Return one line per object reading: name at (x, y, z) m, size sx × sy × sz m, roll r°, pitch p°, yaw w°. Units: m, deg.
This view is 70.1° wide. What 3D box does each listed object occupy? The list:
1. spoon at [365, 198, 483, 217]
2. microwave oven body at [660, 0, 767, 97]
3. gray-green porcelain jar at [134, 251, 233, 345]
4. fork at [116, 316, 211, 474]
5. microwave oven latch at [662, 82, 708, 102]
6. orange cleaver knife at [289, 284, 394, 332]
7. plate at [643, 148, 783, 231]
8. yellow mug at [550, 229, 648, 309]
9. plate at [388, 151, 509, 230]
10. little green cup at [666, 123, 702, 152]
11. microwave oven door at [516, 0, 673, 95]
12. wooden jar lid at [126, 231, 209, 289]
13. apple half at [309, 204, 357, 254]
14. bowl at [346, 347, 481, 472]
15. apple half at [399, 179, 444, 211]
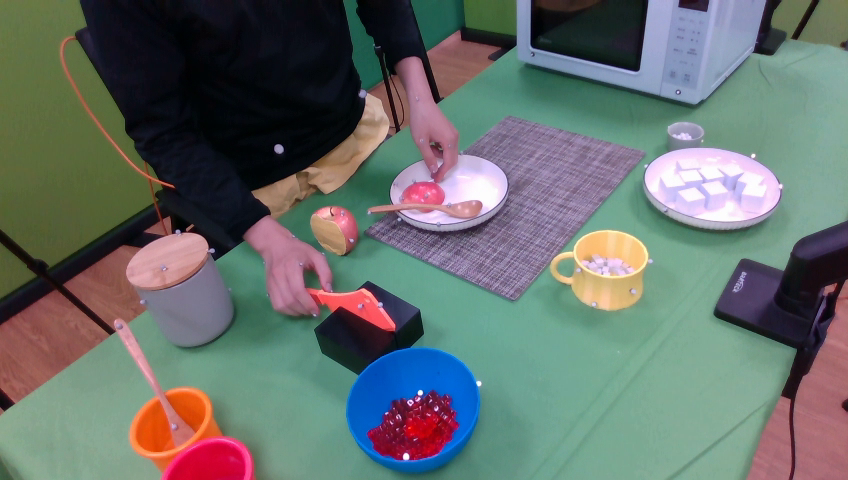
spoon at (0.001, -0.056, 0.997) m, size 0.194 × 0.022 × 0.041 m, roll 1°, pitch 51°, yaw -9°
microwave oven body at (0.473, -0.517, 1.313) m, size 0.438 × 0.261 × 0.327 m, roll 26°, pitch 51°, yaw 34°
gray-green porcelain jar at (-0.334, 0.076, 0.849) m, size 0.106 × 0.127 × 0.105 m, roll -4°, pitch 41°, yaw 4°
fork at (-0.308, 0.179, 0.708) m, size 0.028 × 0.018 × 0.207 m, roll -30°, pitch 89°, yaw -14°
microwave oven latch at (0.517, -0.298, 1.203) m, size 0.078 × 0.029 × 0.030 m, roll 28°, pitch 52°, yaw 35°
orange cleaver knife at (-0.117, 0.092, 0.833) m, size 0.209 × 0.077 × 0.012 m, roll 1°, pitch 35°, yaw 47°
plate at (0.464, -0.079, 0.986) m, size 0.207 × 0.039 × 0.206 m, roll -4°, pitch 40°, yaw 4°
yellow mug at (0.245, 0.040, 0.857) m, size 0.130 × 0.064 × 0.099 m, roll 1°, pitch 41°, yaw 11°
plate at (0.044, -0.083, 1.042) m, size 0.209 × 0.038 × 0.208 m, roll -4°, pitch 40°, yaw 4°
little green cup at (0.472, -0.183, 1.102) m, size 0.061 × 0.039 × 0.061 m, roll -5°, pitch 41°, yaw 5°
microwave oven door at (0.344, -0.458, 1.256) m, size 0.353 × 0.245 × 0.039 m, roll 26°, pitch 51°, yaw 33°
wooden jar lid at (-0.340, 0.030, 0.808) m, size 0.108 × 0.021 × 0.108 m, roll -5°, pitch 39°, yaw 5°
apple half at (-0.140, -0.022, 0.979) m, size 0.080 × 0.075 × 0.053 m, roll 19°, pitch 44°, yaw 32°
bowl at (-0.008, 0.205, 0.691) m, size 0.151 × 0.077 × 0.150 m, roll -4°, pitch 40°, yaw 4°
apple half at (-0.003, -0.088, 1.046) m, size 0.081 × 0.033 × 0.081 m, roll -2°, pitch 43°, yaw 2°
